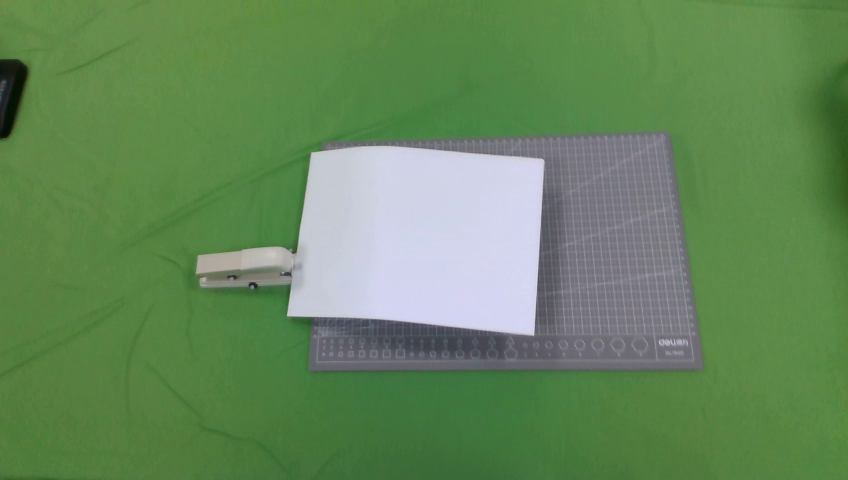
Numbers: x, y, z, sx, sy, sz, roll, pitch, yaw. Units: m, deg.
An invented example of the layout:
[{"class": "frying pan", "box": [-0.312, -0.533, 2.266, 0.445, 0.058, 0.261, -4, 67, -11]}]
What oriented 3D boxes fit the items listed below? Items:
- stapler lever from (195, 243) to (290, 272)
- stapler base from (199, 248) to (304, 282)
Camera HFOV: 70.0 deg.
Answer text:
[{"class": "stapler lever", "box": [-0.217, 0.021, 0.716, 0.118, 0.040, 0.026, -2, 71, 3]}, {"class": "stapler base", "box": [-0.214, 0.028, 0.740, 0.130, 0.024, 0.041, -2, 72, 3]}]
